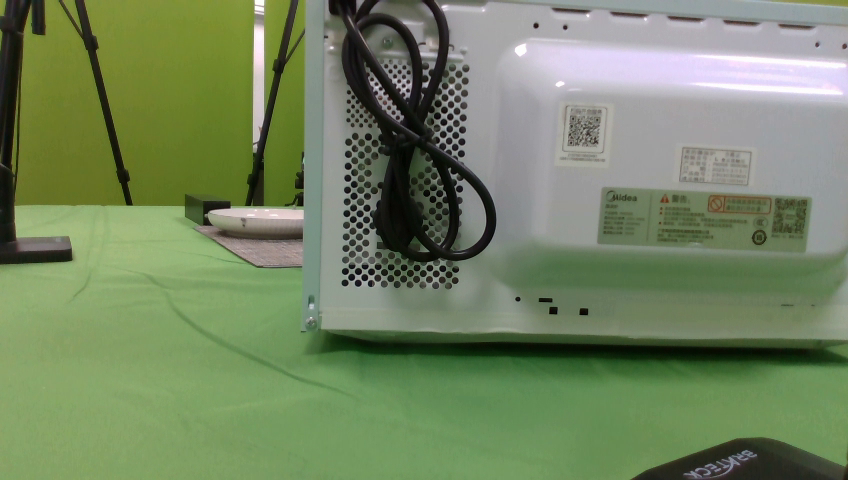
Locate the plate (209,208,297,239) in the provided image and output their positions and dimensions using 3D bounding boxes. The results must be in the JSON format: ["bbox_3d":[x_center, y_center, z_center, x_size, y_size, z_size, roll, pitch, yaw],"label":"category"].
[{"bbox_3d":[-0.271,-0.029,1.074,0.208,0.039,0.207,3,7,0],"label":"plate"}]

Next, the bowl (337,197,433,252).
[{"bbox_3d":[-0.062,-0.025,0.955,0.151,0.077,0.151,2,8,0],"label":"bowl"}]

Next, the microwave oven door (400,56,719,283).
[{"bbox_3d":[0.155,-0.077,0.698,0.356,0.243,0.039,2,8,-5],"label":"microwave oven door"}]

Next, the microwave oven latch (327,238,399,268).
[{"bbox_3d":[-0.069,0.015,0.694,0.079,0.029,0.030,3,7,-3],"label":"microwave oven latch"}]

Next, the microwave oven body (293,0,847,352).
[{"bbox_3d":[0.122,-0.055,0.550,0.442,0.260,0.325,3,7,-5],"label":"microwave oven body"}]
